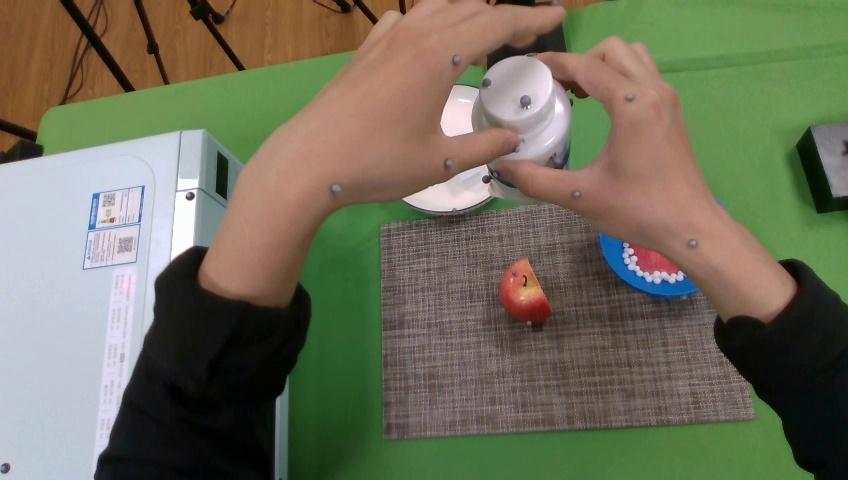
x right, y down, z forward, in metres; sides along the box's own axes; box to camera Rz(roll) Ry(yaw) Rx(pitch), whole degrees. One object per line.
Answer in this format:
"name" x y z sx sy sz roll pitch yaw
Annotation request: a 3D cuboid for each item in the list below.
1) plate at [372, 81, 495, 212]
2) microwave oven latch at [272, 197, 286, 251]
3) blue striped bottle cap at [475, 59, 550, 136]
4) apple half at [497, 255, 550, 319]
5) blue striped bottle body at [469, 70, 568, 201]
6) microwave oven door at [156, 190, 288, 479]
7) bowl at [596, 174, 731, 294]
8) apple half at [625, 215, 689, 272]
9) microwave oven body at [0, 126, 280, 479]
"plate" 0.029 -0.133 0.884 0.207 0.039 0.206 -4 71 11
"microwave oven latch" -0.217 -0.023 0.880 0.030 0.030 0.078 -8 70 9
"blue striped bottle cap" 0.052 -0.085 0.358 0.044 0.021 0.044 -3 65 7
"apple half" 0.121 0.066 0.772 0.053 0.075 0.080 -26 71 7
"blue striped bottle body" 0.066 -0.073 0.411 0.063 0.121 0.063 -3 76 12
"microwave oven door" -0.225 0.148 0.713 0.039 0.246 0.353 -8 70 10
"bowl" 0.290 0.002 0.754 0.151 0.077 0.150 -4 71 12
"apple half" 0.290 0.001 0.749 0.081 0.033 0.080 -4 69 11
"microwave oven body" -0.370 0.131 0.756 0.325 0.262 0.438 -8 70 9
